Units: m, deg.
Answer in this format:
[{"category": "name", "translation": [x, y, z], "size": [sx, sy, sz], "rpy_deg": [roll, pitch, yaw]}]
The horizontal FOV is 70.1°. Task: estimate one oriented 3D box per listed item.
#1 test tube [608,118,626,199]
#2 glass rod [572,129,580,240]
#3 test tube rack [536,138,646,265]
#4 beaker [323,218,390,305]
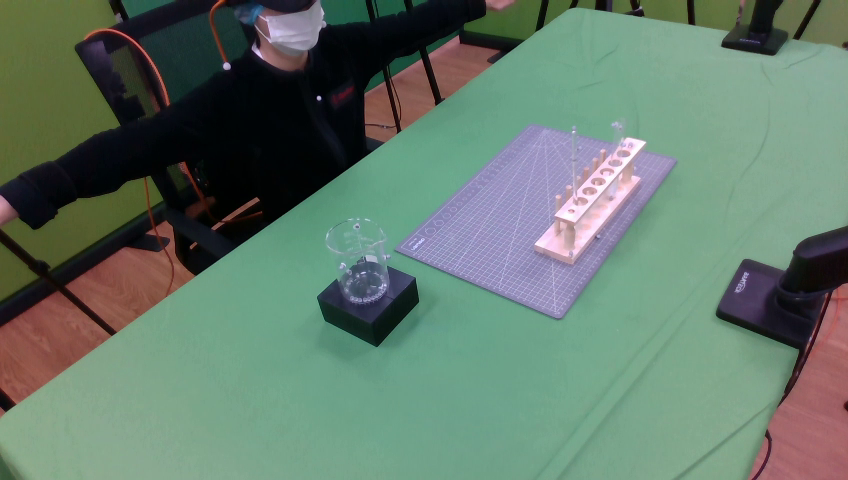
[{"category": "test tube", "translation": [0.301, -0.124, 0.945], "size": [0.017, 0.151, 0.017], "rpy_deg": [-5, 44, 6]}, {"category": "glass rod", "translation": [0.220, -0.074, 0.871], "size": [0.008, 0.201, 0.008], "rpy_deg": [-8, 42, 8]}, {"category": "test tube rack", "translation": [0.268, -0.071, 0.964], "size": [0.066, 0.085, 0.243], "rpy_deg": [23, 49, 32]}, {"category": "beaker", "translation": [-0.084, 0.031, 0.813], "size": [0.084, 0.101, 0.073], "rpy_deg": [-1, 41, 8]}]
